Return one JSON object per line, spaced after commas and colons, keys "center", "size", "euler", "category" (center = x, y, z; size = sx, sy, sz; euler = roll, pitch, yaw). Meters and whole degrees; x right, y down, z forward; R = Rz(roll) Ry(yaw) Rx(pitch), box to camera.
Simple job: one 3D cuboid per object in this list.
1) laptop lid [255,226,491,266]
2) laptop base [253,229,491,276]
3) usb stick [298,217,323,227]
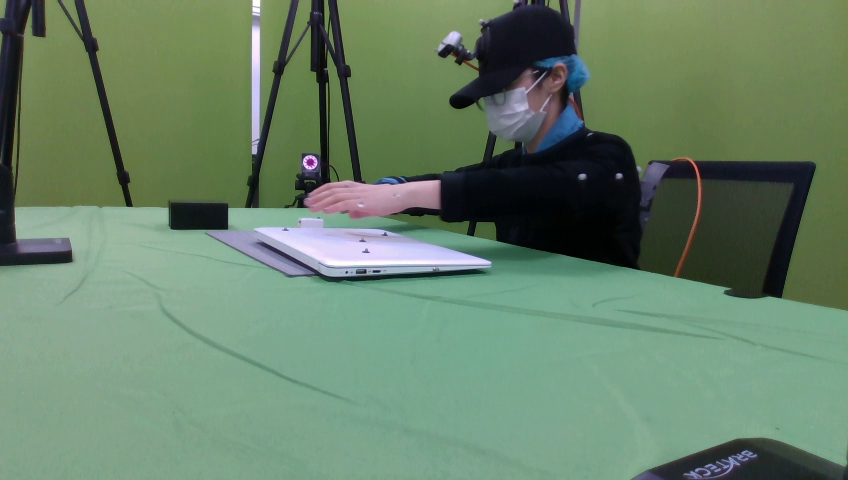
{"center": [-0.092, 0.003, 0.889], "size": [0.243, 0.013, 0.355], "euler": [1, 8, -28], "category": "laptop lid"}
{"center": [-0.095, 0.015, 0.889], "size": [0.237, 0.023, 0.352], "euler": [1, 7, -30], "category": "laptop base"}
{"center": [-0.223, -0.031, 1.151], "size": [0.059, 0.027, 0.021], "euler": [-6, 11, -31], "category": "usb stick"}
